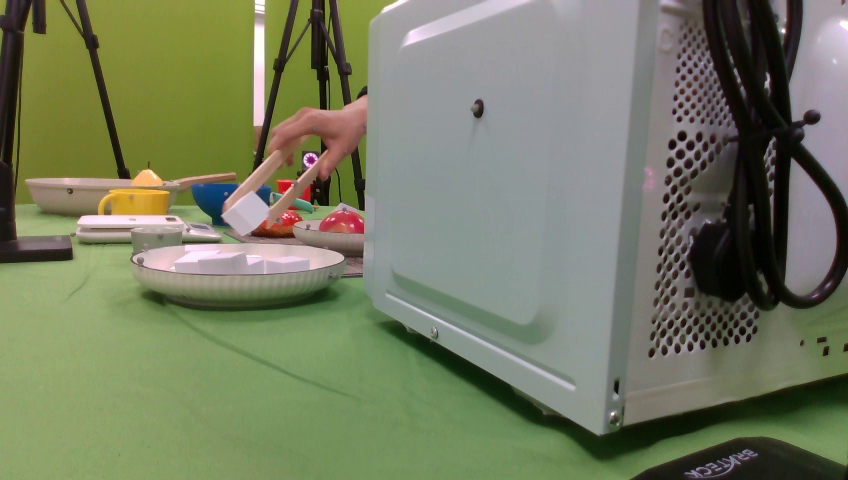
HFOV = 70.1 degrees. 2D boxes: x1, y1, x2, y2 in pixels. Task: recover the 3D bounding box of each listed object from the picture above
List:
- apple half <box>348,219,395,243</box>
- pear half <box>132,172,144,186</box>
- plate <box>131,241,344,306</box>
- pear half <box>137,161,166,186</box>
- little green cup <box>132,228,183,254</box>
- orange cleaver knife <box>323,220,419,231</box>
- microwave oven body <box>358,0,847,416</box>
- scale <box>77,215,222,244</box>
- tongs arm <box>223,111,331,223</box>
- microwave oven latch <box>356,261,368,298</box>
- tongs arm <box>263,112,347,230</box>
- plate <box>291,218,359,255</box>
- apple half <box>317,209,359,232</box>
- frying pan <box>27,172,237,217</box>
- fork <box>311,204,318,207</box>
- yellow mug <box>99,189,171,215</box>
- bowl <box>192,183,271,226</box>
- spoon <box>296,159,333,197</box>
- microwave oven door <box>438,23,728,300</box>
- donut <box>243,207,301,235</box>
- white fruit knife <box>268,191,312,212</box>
[{"bbox_3d":[-0.083,-0.018,0.967,0.081,0.033,0.081,6,10,-1],"label":"apple half"},{"bbox_3d":[-0.638,-0.113,1.361,0.031,0.088,0.070,5,11,4],"label":"pear half"},{"bbox_3d":[-0.187,0.033,0.625,0.208,0.039,0.207,2,7,0],"label":"plate"},{"bbox_3d":[-0.602,-0.120,1.354,0.056,0.110,0.076,4,11,6],"label":"pear half"},{"bbox_3d":[-0.342,0.006,0.779,0.061,0.038,0.061,2,8,0],"label":"little green cup"},{"bbox_3d":[-0.097,-0.027,1.152,0.077,0.012,0.212,3,7,41],"label":"orange cleaver knife"},{"bbox_3d":[0.211,-0.047,0.475,0.444,0.260,0.324,-1,7,-28],"label":"microwave oven body"},{"bbox_3d":[-0.434,-0.019,0.963,0.202,0.031,0.148,-1,9,-27],"label":"scale"},{"bbox_3d":[-0.187,-0.114,0.812,0.028,0.028,0.387,8,27,3],"label":"tongs arm"},{"bbox_3d":[-0.019,0.033,0.530,0.079,0.029,0.030,-1,7,-26],"label":"microwave oven latch"},{"bbox_3d":[-0.159,-0.109,0.812,0.051,0.026,0.385,12,27,4],"label":"tongs arm"},{"bbox_3d":[-0.098,-0.007,0.928,0.209,0.038,0.209,2,8,0],"label":"plate"},{"bbox_3d":[-0.122,-0.019,0.900,0.080,0.053,0.075,3,10,14],"label":"apple half"},{"bbox_3d":[-0.624,-0.118,1.387,0.305,0.102,0.490,8,17,32],"label":"frying pan"},{"bbox_3d":[-0.356,-0.105,1.526,0.208,0.018,0.028,16,-5,-41],"label":"fork"},{"bbox_3d":[-0.519,-0.055,1.080,0.099,0.064,0.131,7,10,26],"label":"yellow mug"},{"bbox_3d":[-0.382,-0.071,1.202,0.151,0.077,0.151,3,7,0],"label":"bowl"},{"bbox_3d":[-0.317,-0.159,1.640,0.194,0.022,0.041,-49,32,-20],"label":"spoon"},{"bbox_3d":[0.181,-0.073,0.621,0.358,0.243,0.039,-2,8,-29],"label":"microwave oven door"},{"bbox_3d":[-0.261,-0.032,1.043,0.099,0.048,0.099,4,9,0],"label":"donut"},{"bbox_3d":[-0.364,-0.105,1.464,0.208,0.027,0.016,15,0,-34],"label":"white fruit knife"}]
